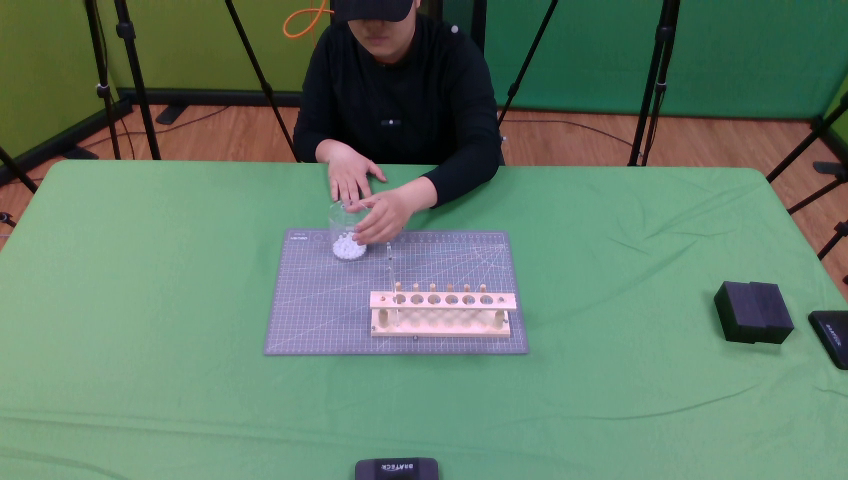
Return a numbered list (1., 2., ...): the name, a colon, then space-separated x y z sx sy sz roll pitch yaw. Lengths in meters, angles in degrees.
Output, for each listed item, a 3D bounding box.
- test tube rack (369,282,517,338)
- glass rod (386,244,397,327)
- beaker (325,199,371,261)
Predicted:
1. test tube rack: 0.030 0.116 1.041 0.242 0.085 0.066 1 46 -3
2. glass rod: -0.052 0.078 0.979 0.008 0.201 0.008 -1 45 1
3. beaker: -0.142 -0.016 1.146 0.084 0.101 0.073 -7 46 -12
